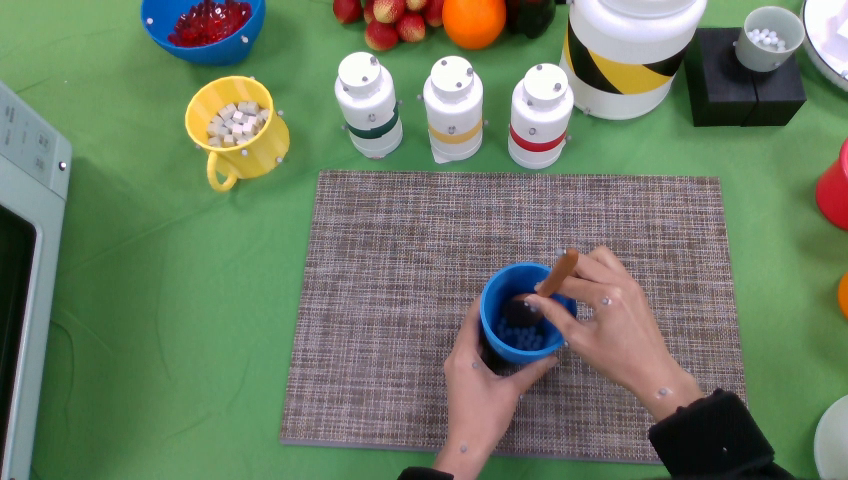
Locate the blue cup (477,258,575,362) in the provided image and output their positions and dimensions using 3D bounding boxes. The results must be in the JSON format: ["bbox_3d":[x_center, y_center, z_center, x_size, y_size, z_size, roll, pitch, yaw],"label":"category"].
[{"bbox_3d":[0.092,0.075,0.572,0.092,0.101,0.092,-1,66,3],"label":"blue cup"}]

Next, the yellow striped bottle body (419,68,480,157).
[{"bbox_3d":[0.029,-0.146,0.659,0.063,0.121,0.062,-2,67,5],"label":"yellow striped bottle body"}]

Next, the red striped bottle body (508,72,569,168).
[{"bbox_3d":[0.121,-0.134,0.648,0.063,0.120,0.062,-3,65,7],"label":"red striped bottle body"}]

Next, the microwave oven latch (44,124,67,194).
[{"bbox_3d":[-0.434,-0.092,0.698,0.030,0.030,0.078,-6,68,2],"label":"microwave oven latch"}]

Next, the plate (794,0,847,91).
[{"bbox_3d":[0.535,-0.242,0.703,0.209,0.038,0.207,-1,69,4],"label":"plate"}]

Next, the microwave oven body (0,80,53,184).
[{"bbox_3d":[-0.569,0.053,0.546,0.326,0.262,0.438,-8,68,1],"label":"microwave oven body"}]

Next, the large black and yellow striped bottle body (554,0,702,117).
[{"bbox_3d":[0.214,-0.234,0.646,0.131,0.185,0.130,-2,68,4],"label":"large black and yellow striped bottle body"}]

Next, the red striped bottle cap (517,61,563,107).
[{"bbox_3d":[0.115,-0.155,0.599,0.044,0.018,0.044,0,67,0],"label":"red striped bottle cap"}]

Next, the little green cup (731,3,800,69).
[{"bbox_3d":[0.364,-0.217,0.652,0.061,0.039,0.061,-1,67,3],"label":"little green cup"}]

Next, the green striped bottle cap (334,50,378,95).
[{"bbox_3d":[-0.070,-0.172,0.621,0.044,0.020,0.044,-1,67,3],"label":"green striped bottle cap"}]

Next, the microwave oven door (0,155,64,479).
[{"bbox_3d":[-0.420,0.071,0.522,0.039,0.245,0.353,-8,68,2],"label":"microwave oven door"}]

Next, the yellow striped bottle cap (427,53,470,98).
[{"bbox_3d":[0.025,-0.166,0.612,0.044,0.019,0.044,-1,69,4],"label":"yellow striped bottle cap"}]

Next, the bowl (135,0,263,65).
[{"bbox_3d":[-0.267,-0.274,0.756,0.151,0.077,0.150,-1,68,3],"label":"bowl"}]

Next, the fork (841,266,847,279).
[{"bbox_3d":[0.472,0.058,0.527,0.028,0.019,0.205,-32,25,-14],"label":"fork"}]

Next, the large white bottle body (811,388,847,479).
[{"bbox_3d":[0.412,0.162,0.470,0.130,0.186,0.129,-2,67,4],"label":"large white bottle body"}]

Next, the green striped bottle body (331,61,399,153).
[{"bbox_3d":[-0.065,-0.152,0.669,0.063,0.120,0.062,-2,67,4],"label":"green striped bottle body"}]

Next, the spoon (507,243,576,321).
[{"bbox_3d":[0.102,0.042,0.523,0.041,0.194,0.021,14,72,2],"label":"spoon"}]

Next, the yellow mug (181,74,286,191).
[{"bbox_3d":[-0.222,-0.117,0.696,0.100,0.064,0.130,11,70,8],"label":"yellow mug"}]

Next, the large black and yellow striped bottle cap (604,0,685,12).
[{"bbox_3d":[0.206,-0.264,0.568,0.115,0.019,0.114,-2,67,5],"label":"large black and yellow striped bottle cap"}]
